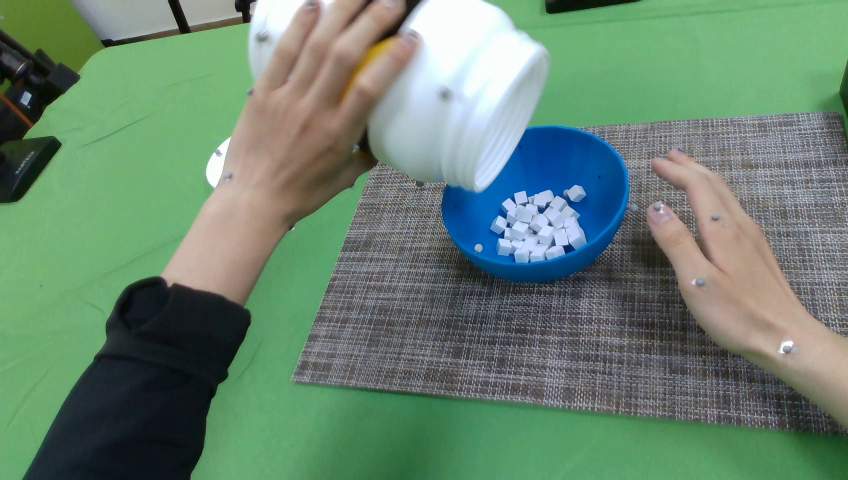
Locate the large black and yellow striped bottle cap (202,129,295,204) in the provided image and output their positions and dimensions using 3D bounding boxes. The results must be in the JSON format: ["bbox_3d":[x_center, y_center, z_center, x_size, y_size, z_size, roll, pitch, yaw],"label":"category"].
[{"bbox_3d":[-0.213,-0.092,0.736,0.115,0.019,0.114,-9,50,12],"label":"large black and yellow striped bottle cap"}]

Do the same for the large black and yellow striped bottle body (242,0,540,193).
[{"bbox_3d":[-0.022,-0.120,0.443,0.183,0.132,0.130,27,65,16],"label":"large black and yellow striped bottle body"}]

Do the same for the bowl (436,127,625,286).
[{"bbox_3d":[0.093,-0.015,0.511,0.151,0.077,0.150,-10,50,13],"label":"bowl"}]
